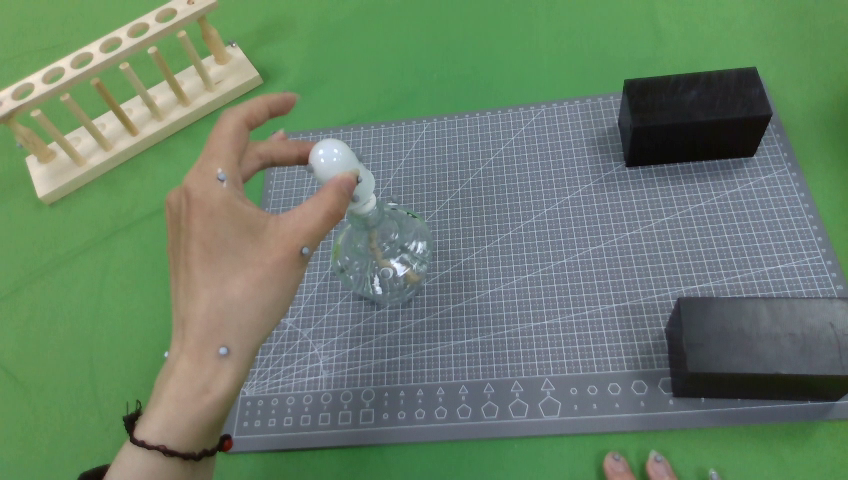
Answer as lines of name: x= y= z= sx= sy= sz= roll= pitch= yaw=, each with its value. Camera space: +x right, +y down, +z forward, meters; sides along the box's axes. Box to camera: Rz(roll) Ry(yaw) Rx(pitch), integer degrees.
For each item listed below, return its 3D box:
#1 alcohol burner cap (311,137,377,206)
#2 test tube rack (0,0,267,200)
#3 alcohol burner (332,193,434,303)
alcohol burner cap: x=-0.052 y=-0.044 z=0.377 sx=0.034 sy=0.048 sz=0.033 roll=-5 pitch=70 yaw=14
test tube rack: x=-0.288 y=-0.146 z=0.593 sx=0.242 sy=0.086 sz=0.066 roll=-32 pitch=59 yaw=-9
alcohol burner: x=-0.033 y=-0.003 z=0.440 sx=0.078 sy=0.120 sz=0.077 roll=-5 pitch=56 yaw=8
